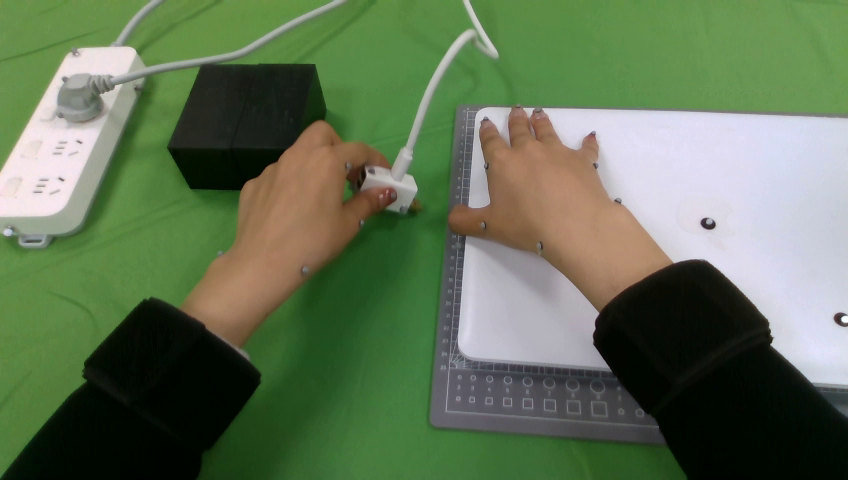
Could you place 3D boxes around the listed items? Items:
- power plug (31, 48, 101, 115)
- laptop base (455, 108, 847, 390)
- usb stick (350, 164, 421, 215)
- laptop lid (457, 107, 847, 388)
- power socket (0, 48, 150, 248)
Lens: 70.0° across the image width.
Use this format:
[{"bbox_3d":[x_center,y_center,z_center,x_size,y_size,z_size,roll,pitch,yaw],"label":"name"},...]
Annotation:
[{"bbox_3d":[-0.298,-0.139,0.505,0.053,0.073,0.035,12,37,-19],"label":"power plug"},{"bbox_3d":[0.207,-0.003,0.455,0.354,0.023,0.233,3,59,5],"label":"laptop base"},{"bbox_3d":[-0.026,-0.037,0.473,0.059,0.027,0.021,16,28,-30],"label":"usb stick"},{"bbox_3d":[0.206,-0.009,0.443,0.356,0.013,0.239,4,58,6],"label":"laptop lid"},{"bbox_3d":[-0.308,-0.094,0.536,0.072,0.033,0.224,1,54,2],"label":"power socket"}]
